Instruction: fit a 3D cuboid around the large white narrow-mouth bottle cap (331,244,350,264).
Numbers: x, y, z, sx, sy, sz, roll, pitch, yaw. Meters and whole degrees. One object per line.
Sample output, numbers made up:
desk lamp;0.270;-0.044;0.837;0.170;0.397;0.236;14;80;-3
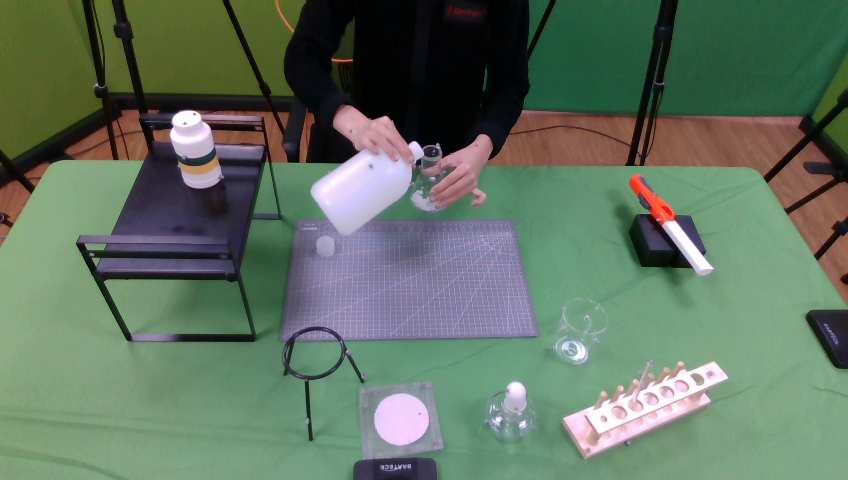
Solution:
large white narrow-mouth bottle cap;-0.160;0.026;1.161;0.038;0.024;0.037;4;46;-4

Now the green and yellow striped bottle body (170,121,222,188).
green and yellow striped bottle body;-0.375;-0.149;0.995;0.063;0.120;0.063;2;46;-2

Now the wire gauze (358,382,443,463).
wire gauze;-0.039;0.277;0.937;0.121;0.011;0.124;-4;47;-7

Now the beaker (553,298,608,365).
beaker;0.260;0.154;1.015;0.073;0.101;0.084;37;54;27

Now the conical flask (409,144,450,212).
conical flask;0.011;-0.113;1.077;0.075;0.122;0.075;1;51;-1

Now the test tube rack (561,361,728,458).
test tube rack;0.341;0.248;0.940;0.243;0.085;0.066;-15;49;-18

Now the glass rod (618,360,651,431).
glass rod;0.298;0.226;0.865;0.008;0.201;0.008;-1;48;2

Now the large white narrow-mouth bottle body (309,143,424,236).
large white narrow-mouth bottle body;-0.086;-0.097;1.006;0.194;0.102;0.101;-35;54;-4

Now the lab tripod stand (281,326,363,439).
lab tripod stand;-0.166;0.203;0.913;0.148;0.132;0.147;1;47;-1

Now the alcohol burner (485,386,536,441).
alcohol burner;0.131;0.249;0.904;0.078;0.120;0.077;1;48;-1

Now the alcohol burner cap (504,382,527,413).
alcohol burner cap;0.133;0.225;0.877;0.034;0.048;0.033;-4;47;5

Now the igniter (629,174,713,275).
igniter;0.481;-0.040;1.202;0.057;0.025;0.274;-2;46;-21

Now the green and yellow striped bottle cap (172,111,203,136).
green and yellow striped bottle cap;-0.374;-0.185;0.957;0.045;0.020;0.045;3;46;-3
